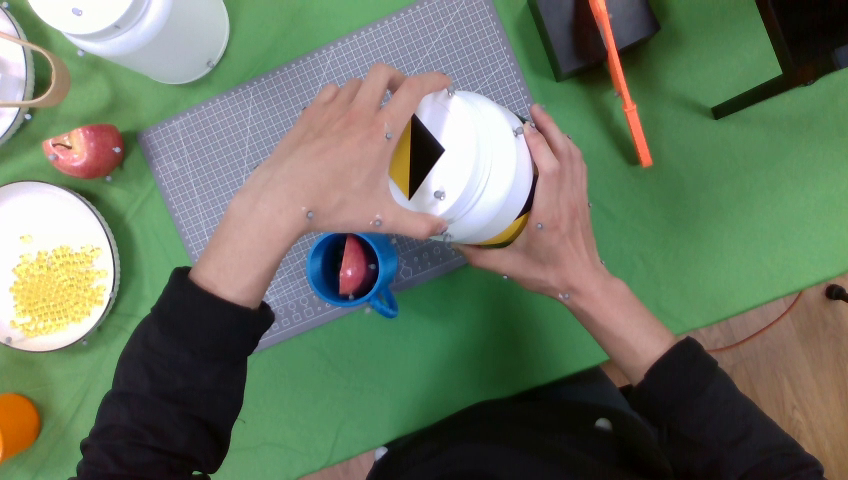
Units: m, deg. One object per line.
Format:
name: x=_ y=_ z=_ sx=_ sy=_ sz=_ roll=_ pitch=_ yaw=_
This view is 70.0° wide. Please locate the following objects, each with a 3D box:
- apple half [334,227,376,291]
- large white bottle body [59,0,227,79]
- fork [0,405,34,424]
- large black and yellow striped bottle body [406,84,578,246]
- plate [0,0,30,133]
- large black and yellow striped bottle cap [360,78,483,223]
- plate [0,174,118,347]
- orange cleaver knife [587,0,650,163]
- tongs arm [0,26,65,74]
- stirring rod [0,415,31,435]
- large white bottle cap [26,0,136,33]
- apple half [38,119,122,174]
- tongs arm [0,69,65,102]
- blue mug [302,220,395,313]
apple half: x=-0.069 y=0.022 z=0.665 sx=0.032 sy=0.081 sz=0.081 roll=11 pitch=95 yaw=11
large white bottle body: x=-0.303 y=-0.252 z=0.631 sx=0.130 sy=0.184 sz=0.130 roll=0 pitch=93 yaw=5
fork: x=-0.576 y=0.229 z=0.703 sx=0.208 sy=0.018 sz=0.028 roll=-8 pitch=93 yaw=-38
large black and yellow striped bottle body: x=0.046 y=-0.064 z=0.553 sx=0.130 sy=0.185 sz=0.130 roll=-4 pitch=84 yaw=37
plate: x=-0.568 y=-0.209 z=0.728 sx=0.207 sy=0.039 sz=0.208 roll=0 pitch=94 yaw=4
large black and yellow striped bottle cap: x=-0.005 y=-0.071 z=0.483 sx=0.114 sy=0.019 sz=0.114 roll=-5 pitch=83 yaw=38
plate: x=-0.468 y=0.024 z=0.737 sx=0.209 sy=0.038 sz=0.209 roll=0 pitch=95 yaw=5
orange cleaver knife: x=0.204 y=-0.182 z=0.649 sx=0.012 sy=0.076 sz=0.213 roll=-21 pitch=118 yaw=14
tongs arm: x=-0.587 y=-0.267 z=0.694 sx=0.387 sy=0.028 sz=0.028 roll=20 pitch=89 yaw=5
stirring rod: x=-0.561 y=0.244 z=0.706 sx=0.177 sy=0.006 sz=0.014 roll=-16 pitch=80 yaw=-35
large white bottle cap: x=-0.311 y=-0.247 z=0.547 sx=0.115 sy=0.018 sz=0.115 roll=0 pitch=94 yaw=5
apple half: x=-0.392 y=-0.104 z=0.705 sx=0.081 sy=0.074 sz=0.053 roll=-19 pitch=95 yaw=1
tongs arm: x=-0.603 y=-0.185 z=0.700 sx=0.384 sy=0.026 sz=0.051 roll=6 pitch=91 yaw=6
blue mug: x=-0.071 y=0.032 z=0.671 sx=0.082 sy=0.106 sz=0.116 roll=-38 pitch=91 yaw=6
